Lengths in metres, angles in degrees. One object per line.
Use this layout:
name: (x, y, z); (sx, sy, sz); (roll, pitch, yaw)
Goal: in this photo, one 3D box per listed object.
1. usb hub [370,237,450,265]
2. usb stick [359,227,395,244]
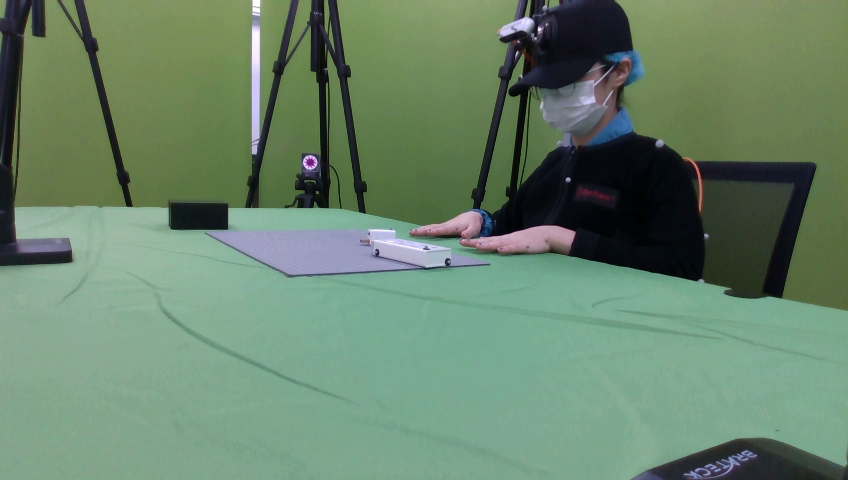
usb hub: (-0.022, 0.014, 0.861); (0.050, 0.025, 0.124); (-5, 9, -41)
usb stick: (-0.079, -0.007, 1.009); (0.059, 0.027, 0.021); (-3, 10, -19)
